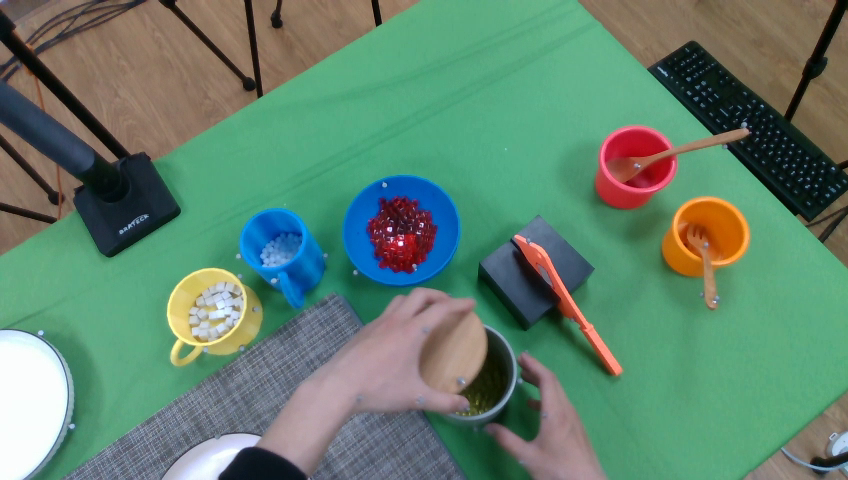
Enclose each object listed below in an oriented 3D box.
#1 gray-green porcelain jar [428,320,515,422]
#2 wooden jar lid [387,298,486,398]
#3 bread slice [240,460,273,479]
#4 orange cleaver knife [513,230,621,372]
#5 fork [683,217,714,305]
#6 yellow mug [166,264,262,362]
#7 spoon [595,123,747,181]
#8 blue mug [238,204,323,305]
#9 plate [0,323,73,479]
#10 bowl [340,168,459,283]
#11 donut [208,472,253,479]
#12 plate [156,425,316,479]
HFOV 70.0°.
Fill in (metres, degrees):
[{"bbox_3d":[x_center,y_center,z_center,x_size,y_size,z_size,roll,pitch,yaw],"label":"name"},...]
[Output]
[{"bbox_3d":[0.049,0.155,0.704,0.106,0.127,0.105,-1,70,3],"label":"gray-green porcelain jar"},{"bbox_3d":[0.014,0.110,0.614,0.108,0.021,0.107,-15,52,21],"label":"wooden jar lid"},{"bbox_3d":[-0.229,0.331,0.704,0.131,0.019,0.104,-21,70,-8],"label":"bread slice"},{"bbox_3d":[0.175,0.075,0.750,0.012,0.077,0.212,-37,102,-9],"label":"orange cleaver knife"},{"bbox_3d":[0.331,0.020,0.725,0.028,0.019,0.206,26,30,5],"label":"fork"},{"bbox_3d":[-0.276,0.100,0.774,0.099,0.064,0.130,30,76,13],"label":"yellow mug"},{"bbox_3d":[0.309,-0.114,0.776,0.022,0.193,0.041,27,61,-35],"label":"spoon"},{"bbox_3d":[-0.177,0.027,0.774,0.082,0.106,0.115,-15,70,-2],"label":"blue mug"},{"bbox_3d":[-0.541,0.210,0.764,0.207,0.039,0.206,-1,71,3],"label":"plate"},{"bbox_3d":[-0.029,-0.007,0.792,0.151,0.077,0.150,-1,71,3],"label":"bowl"},{"bbox_3d":[-0.221,0.312,0.677,0.099,0.048,0.098,0,69,0],"label":"donut"},{"bbox_3d":[-0.217,0.324,0.702,0.209,0.038,0.207,-1,70,3],"label":"plate"}]
